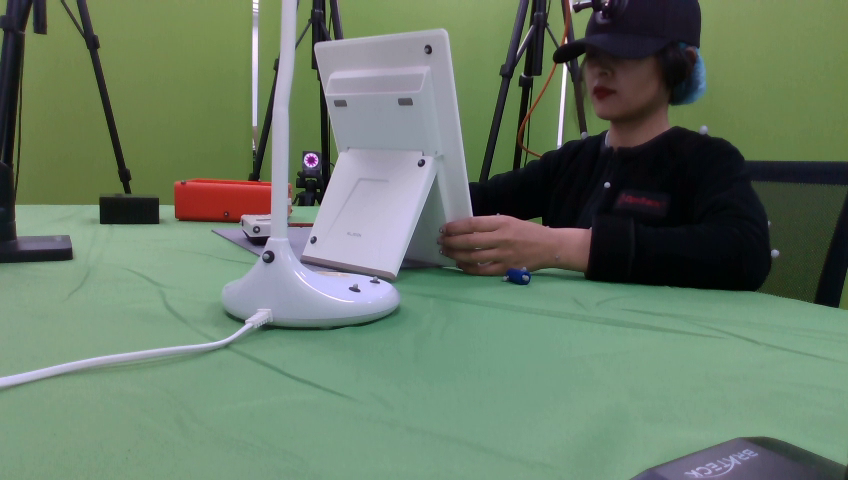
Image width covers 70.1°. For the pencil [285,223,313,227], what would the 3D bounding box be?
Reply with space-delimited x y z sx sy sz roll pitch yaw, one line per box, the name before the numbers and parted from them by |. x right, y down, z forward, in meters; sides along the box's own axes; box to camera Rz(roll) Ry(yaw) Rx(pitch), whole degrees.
pencil | -0.234 -0.030 1.198 0.195 0.012 0.012 0 8 -20

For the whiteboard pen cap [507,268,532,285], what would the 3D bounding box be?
whiteboard pen cap | 0.113 0.043 0.726 0.018 0.018 0.033 -2 9 -28

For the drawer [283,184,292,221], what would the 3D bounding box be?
drawer | -0.397 -0.087 1.314 0.212 0.073 0.194 1 8 -9

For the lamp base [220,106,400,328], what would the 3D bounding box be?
lamp base | -0.102 -0.023 0.531 0.160 0.180 0.179 4 10 10

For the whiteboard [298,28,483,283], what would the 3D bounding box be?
whiteboard | -0.075 -0.082 0.741 0.216 0.305 0.144 9 29 38

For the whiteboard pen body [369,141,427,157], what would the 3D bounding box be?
whiteboard pen body | -0.037 -0.131 0.870 0.017 0.017 0.141 7 7 30

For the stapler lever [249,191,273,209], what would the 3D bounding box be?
stapler lever | -0.351 -0.086 1.305 0.027 0.040 0.118 0 5 -3

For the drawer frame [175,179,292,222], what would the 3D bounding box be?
drawer frame | -0.402 -0.087 1.311 0.214 0.082 0.201 1 8 -9

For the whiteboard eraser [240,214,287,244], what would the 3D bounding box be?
whiteboard eraser | -0.256 -0.018 0.958 0.056 0.042 0.112 0 8 -25

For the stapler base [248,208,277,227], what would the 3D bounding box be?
stapler base | -0.350 -0.054 1.310 0.041 0.024 0.130 0 13 -3
